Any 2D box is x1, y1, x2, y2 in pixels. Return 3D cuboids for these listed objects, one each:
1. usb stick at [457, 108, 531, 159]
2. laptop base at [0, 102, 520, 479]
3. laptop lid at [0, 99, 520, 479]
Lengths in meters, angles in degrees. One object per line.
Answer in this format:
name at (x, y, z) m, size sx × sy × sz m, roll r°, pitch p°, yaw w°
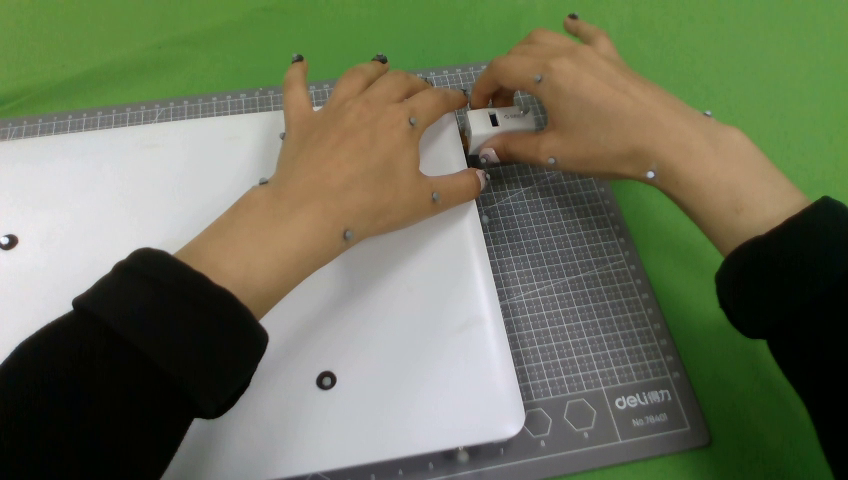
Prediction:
usb stick at (0.040, -0.071, 0.409) m, size 0.059 × 0.027 × 0.021 m, roll -9°, pitch 65°, yaw -5°
laptop base at (-0.139, 0.029, 0.360) m, size 0.355 × 0.023 × 0.233 m, roll -8°, pitch 65°, yaw -6°
laptop lid at (-0.139, 0.026, 0.349) m, size 0.357 × 0.013 × 0.239 m, roll -6°, pitch 63°, yaw -6°
